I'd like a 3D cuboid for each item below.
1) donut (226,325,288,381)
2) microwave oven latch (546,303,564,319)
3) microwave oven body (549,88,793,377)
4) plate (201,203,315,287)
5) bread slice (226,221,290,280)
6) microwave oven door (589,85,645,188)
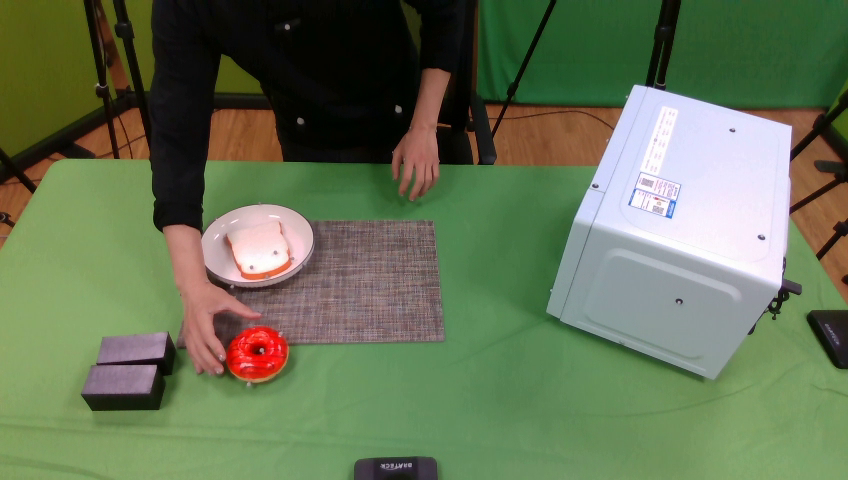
[{"bbox_3d":[-0.270,0.182,0.984,0.099,0.048,0.098,5,49,-5],"label":"donut"},{"bbox_3d":[0.242,0.102,1.081,0.030,0.029,0.079,22,48,17],"label":"microwave oven latch"},{"bbox_3d":[0.456,-0.028,1.087,0.325,0.261,0.440,20,47,16],"label":"microwave oven body"},{"bbox_3d":[-0.310,0.012,1.145,0.208,0.039,0.206,2,46,-2],"label":"plate"},{"bbox_3d":[-0.308,0.019,1.141,0.105,0.019,0.130,-17,49,-18],"label":"bread slice"},{"bbox_3d":[0.342,-0.107,1.148,0.039,0.245,0.354,20,48,15],"label":"microwave oven door"}]
